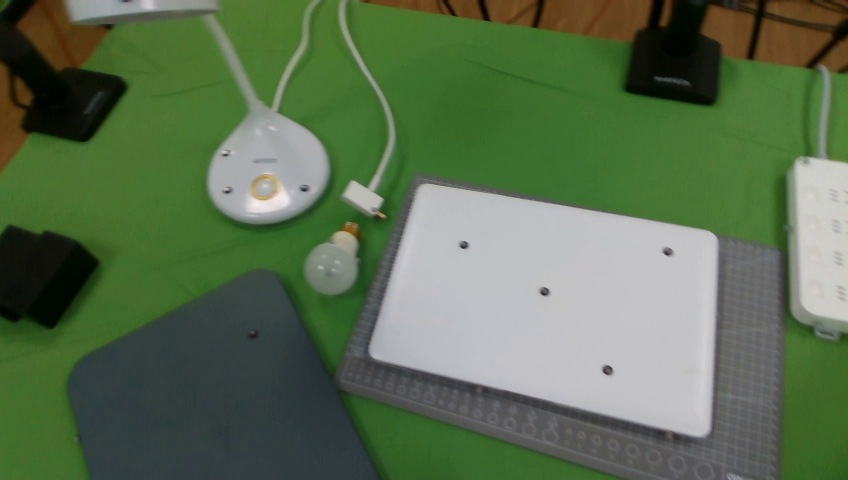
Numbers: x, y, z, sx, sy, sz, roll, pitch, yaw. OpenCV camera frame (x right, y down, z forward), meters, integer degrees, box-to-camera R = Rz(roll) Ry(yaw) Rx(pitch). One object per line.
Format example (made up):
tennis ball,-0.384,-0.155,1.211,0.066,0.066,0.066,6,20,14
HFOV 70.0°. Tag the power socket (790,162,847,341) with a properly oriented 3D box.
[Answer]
power socket,0.454,0.004,0.681,0.072,0.033,0.225,13,61,11

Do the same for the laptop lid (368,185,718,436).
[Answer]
laptop lid,0.135,0.061,0.670,0.355,0.013,0.240,12,64,12

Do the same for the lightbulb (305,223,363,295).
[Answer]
lightbulb,-0.100,0.018,0.713,0.059,0.060,0.107,11,45,12

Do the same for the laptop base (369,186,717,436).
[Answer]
laptop base,0.137,0.065,0.681,0.353,0.023,0.234,11,64,11

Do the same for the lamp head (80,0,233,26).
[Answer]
lamp head,-0.215,-0.231,0.471,0.112,0.112,0.123,-5,104,2

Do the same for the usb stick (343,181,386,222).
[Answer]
usb stick,-0.069,-0.045,0.752,0.059,0.021,0.027,36,69,-13

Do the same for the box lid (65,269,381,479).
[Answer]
box lid,-0.209,0.217,0.626,0.263,0.015,0.368,-28,62,-11

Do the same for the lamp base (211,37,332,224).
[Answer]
lamp base,-0.209,-0.139,0.739,0.161,0.182,0.177,-12,56,-2
